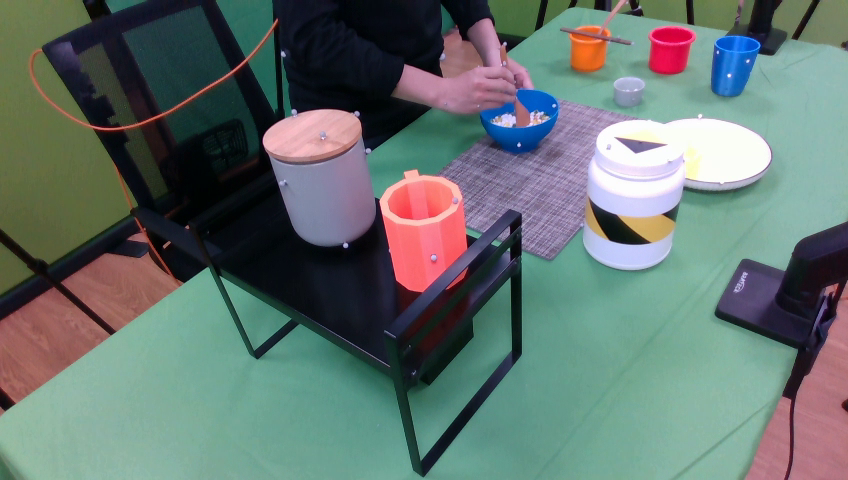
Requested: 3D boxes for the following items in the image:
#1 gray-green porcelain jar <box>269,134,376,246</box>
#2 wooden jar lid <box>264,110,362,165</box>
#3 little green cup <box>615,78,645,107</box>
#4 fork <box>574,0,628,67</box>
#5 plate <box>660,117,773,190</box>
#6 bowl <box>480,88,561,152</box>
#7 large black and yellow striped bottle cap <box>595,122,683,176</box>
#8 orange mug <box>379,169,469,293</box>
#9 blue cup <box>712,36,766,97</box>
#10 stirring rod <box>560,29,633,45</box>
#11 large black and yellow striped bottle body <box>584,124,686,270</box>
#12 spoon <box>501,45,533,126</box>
[{"bbox_3d":[-0.115,-0.064,0.715,0.106,0.127,0.105,-4,40,4],"label":"gray-green porcelain jar"},{"bbox_3d":[-0.122,-0.112,0.673,0.108,0.021,0.108,-4,37,4],"label":"wooden jar lid"},{"bbox_3d":[0.426,-0.306,1.257,0.061,0.039,0.061,-4,40,4],"label":"little green cup"},{"bbox_3d":[0.413,-0.481,1.377,0.207,0.019,0.028,-56,43,12],"label":"fork"},{"bbox_3d":[0.495,-0.148,1.063,0.209,0.038,0.208,-5,40,4],"label":"plate"},{"bbox_3d":[0.185,-0.222,1.160,0.151,0.077,0.150,-4,40,4],"label":"bowl"},{"bbox_3d":[0.293,-0.126,0.826,0.115,0.019,0.114,-3,40,3],"label":"large black and yellow striped bottle cap"},{"bbox_3d":[-0.002,-0.019,0.665,0.083,0.101,0.125,-12,44,-4],"label":"orange mug"},{"bbox_3d":[0.627,-0.350,1.227,0.092,0.100,0.092,-4,39,4],"label":"blue cup"},{"bbox_3d":[0.381,-0.452,1.345,0.174,0.006,0.014,25,50,33],"label":"stirring rod"},{"bbox_3d":[0.304,-0.063,0.880,0.131,0.185,0.130,-5,41,5],"label":"large black and yellow striped bottle body"},{"bbox_3d":[0.166,-0.273,1.107,0.041,0.195,0.021,-44,44,-14],"label":"spoon"}]
